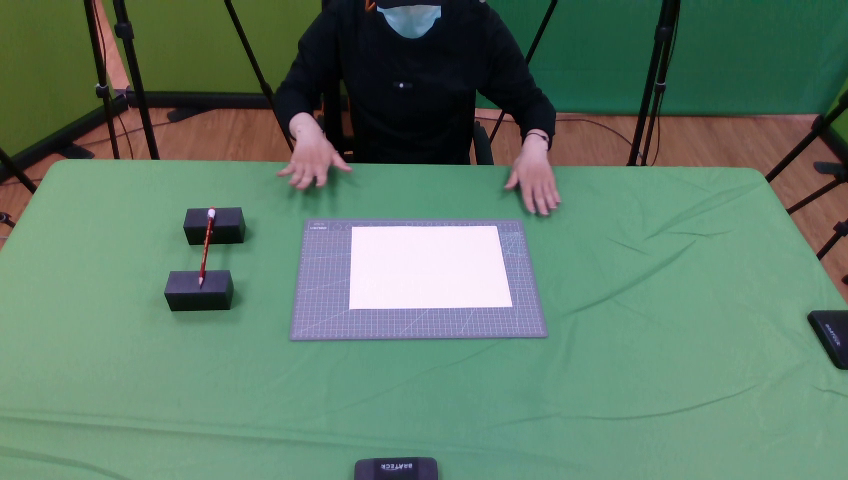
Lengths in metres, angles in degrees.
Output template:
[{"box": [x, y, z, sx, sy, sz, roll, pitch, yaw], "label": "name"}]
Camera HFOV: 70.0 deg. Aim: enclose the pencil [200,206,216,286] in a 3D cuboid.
[{"box": [-0.393, 0.007, 1.098, 0.012, 0.012, 0.192, -3, 48, -7], "label": "pencil"}]
